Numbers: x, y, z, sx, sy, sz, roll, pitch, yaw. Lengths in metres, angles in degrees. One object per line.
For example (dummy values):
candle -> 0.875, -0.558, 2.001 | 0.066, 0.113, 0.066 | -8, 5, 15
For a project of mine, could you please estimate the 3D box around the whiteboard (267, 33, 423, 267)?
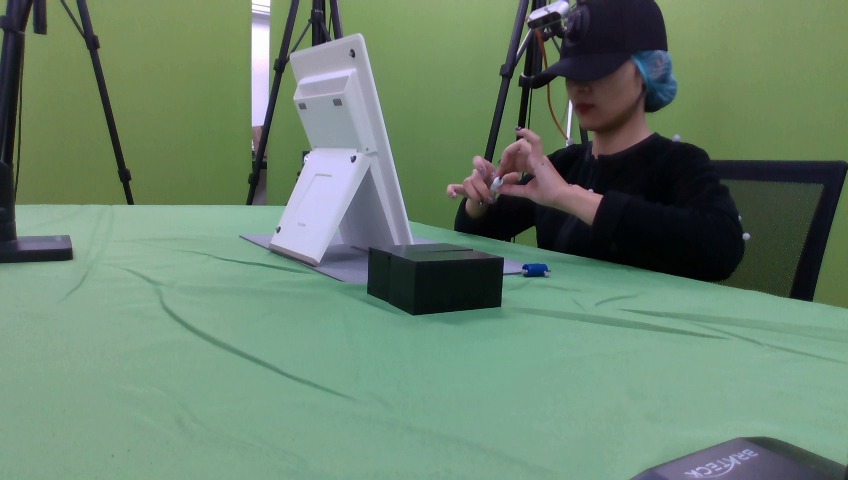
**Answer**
whiteboard -> -0.153, -0.098, 0.819 | 0.144, 0.305, 0.216 | -25, 21, -29

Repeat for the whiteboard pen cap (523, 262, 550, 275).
whiteboard pen cap -> 0.145, 0.037, 0.776 | 0.033, 0.018, 0.018 | 1, 7, -30

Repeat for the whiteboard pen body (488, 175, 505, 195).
whiteboard pen body -> 0.126, -0.096, 1.040 | 0.017, 0.017, 0.141 | 2, -6, -1
